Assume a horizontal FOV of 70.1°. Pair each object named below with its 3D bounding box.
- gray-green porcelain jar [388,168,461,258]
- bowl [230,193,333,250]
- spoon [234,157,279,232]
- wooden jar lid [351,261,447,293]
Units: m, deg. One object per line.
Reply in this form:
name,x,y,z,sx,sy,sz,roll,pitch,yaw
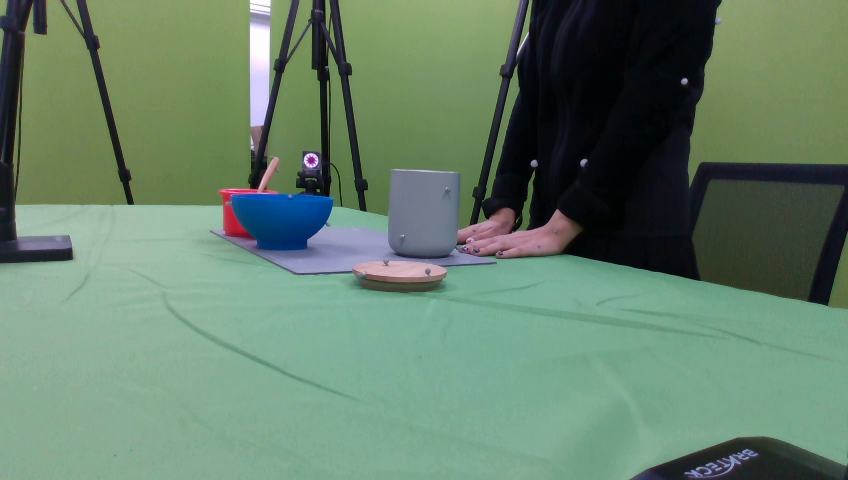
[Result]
gray-green porcelain jar,0.000,-0.041,0.897,0.106,0.126,0.106,2,7,0
bowl,-0.214,-0.028,0.912,0.151,0.077,0.151,2,8,0
spoon,-0.287,-0.084,1.066,0.041,0.021,0.193,7,52,5
wooden jar lid,-0.028,0.042,0.687,0.108,0.020,0.108,3,8,0
